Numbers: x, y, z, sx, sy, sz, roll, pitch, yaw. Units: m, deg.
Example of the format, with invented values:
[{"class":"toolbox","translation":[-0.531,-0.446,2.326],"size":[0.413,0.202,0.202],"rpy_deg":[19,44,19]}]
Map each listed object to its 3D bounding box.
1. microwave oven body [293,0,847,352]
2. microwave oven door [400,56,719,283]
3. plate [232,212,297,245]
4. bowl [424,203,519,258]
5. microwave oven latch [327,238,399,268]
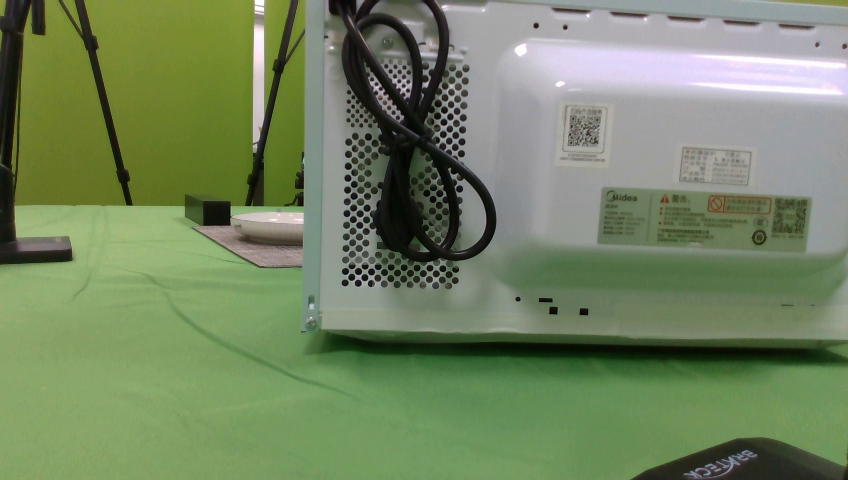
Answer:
[{"class":"microwave oven body","translation":[0.122,-0.055,0.550],"size":[0.442,0.260,0.325],"rpy_deg":[3,7,-5]},{"class":"microwave oven door","translation":[0.155,-0.077,0.698],"size":[0.356,0.243,0.039],"rpy_deg":[2,8,-5]},{"class":"plate","translation":[-0.214,-0.019,1.018],"size":[0.208,0.039,0.207],"rpy_deg":[2,7,0]},{"class":"bowl","translation":[0.073,-0.015,0.962],"size":[0.151,0.077,0.151],"rpy_deg":[3,8,0]},{"class":"microwave oven latch","translation":[-0.069,0.015,0.694],"size":[0.079,0.029,0.030],"rpy_deg":[3,7,-3]}]
